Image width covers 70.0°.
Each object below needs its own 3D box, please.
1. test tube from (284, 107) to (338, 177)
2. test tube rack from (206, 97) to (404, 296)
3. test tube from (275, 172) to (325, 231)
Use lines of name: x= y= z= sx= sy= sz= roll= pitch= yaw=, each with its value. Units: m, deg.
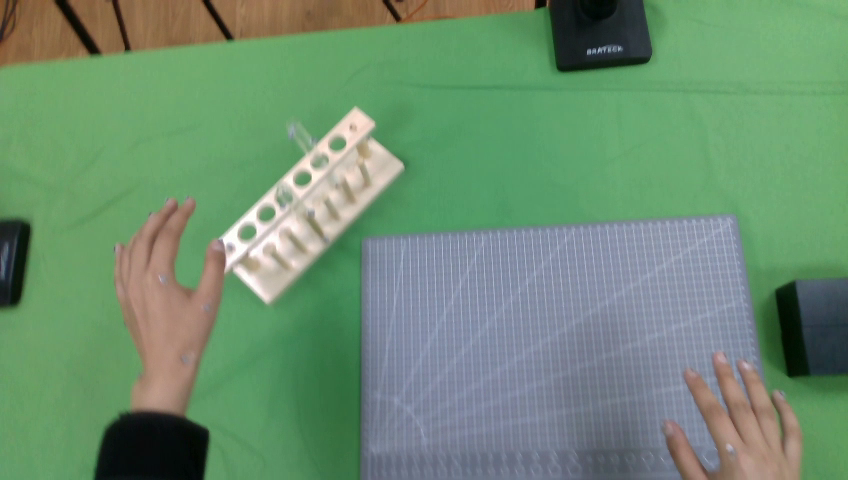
test tube: x=-0.125 y=-0.108 z=0.693 sx=0.017 sy=0.151 sz=0.017 roll=-3 pitch=71 yaw=9
test tube rack: x=-0.136 y=-0.050 z=0.729 sx=0.066 sy=0.086 sz=0.242 roll=42 pitch=82 yaw=15
test tube: x=-0.137 y=-0.041 z=0.680 sx=0.017 sy=0.151 sz=0.017 roll=-2 pitch=72 yaw=6
